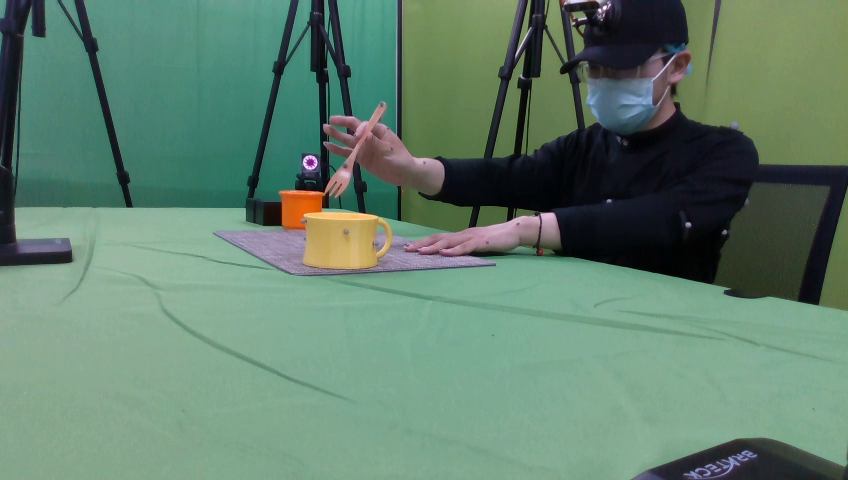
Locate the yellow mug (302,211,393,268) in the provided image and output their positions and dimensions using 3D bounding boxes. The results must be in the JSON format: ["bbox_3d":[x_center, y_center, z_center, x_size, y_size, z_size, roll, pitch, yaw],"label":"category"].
[{"bbox_3d":[-0.098,-0.003,0.810,0.131,0.064,0.099,-2,8,-37],"label":"yellow mug"}]

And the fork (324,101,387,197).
[{"bbox_3d":[-0.105,-0.149,0.961,0.028,0.207,0.018,23,-25,5],"label":"fork"}]
